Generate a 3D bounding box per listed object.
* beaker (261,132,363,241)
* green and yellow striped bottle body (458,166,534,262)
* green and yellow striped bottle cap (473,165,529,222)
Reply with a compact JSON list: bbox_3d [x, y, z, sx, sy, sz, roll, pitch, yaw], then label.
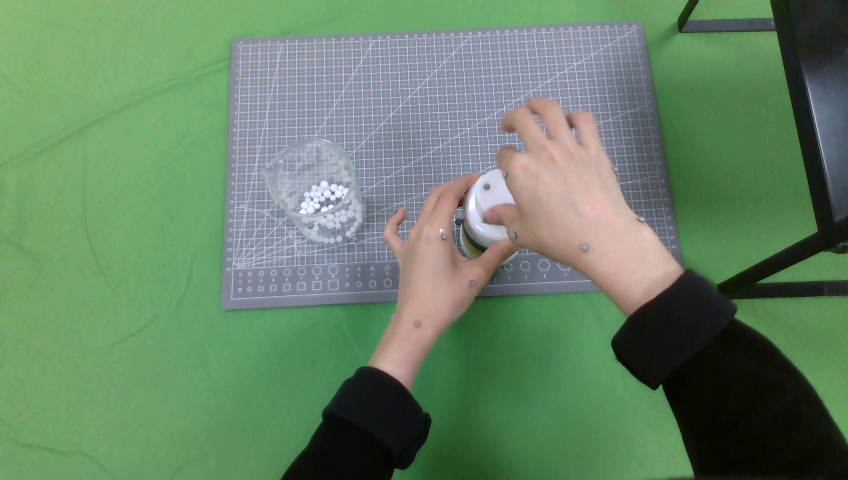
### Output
[{"bbox_3d":[-0.099,-0.045,0.563,0.084,0.101,0.073,8,74,3],"label":"beaker"},{"bbox_3d":[0.063,-0.024,0.546,0.063,0.120,0.063,0,74,1],"label":"green and yellow striped bottle body"},{"bbox_3d":[0.063,-0.038,0.492,0.045,0.020,0.045,0,70,0],"label":"green and yellow striped bottle cap"}]
